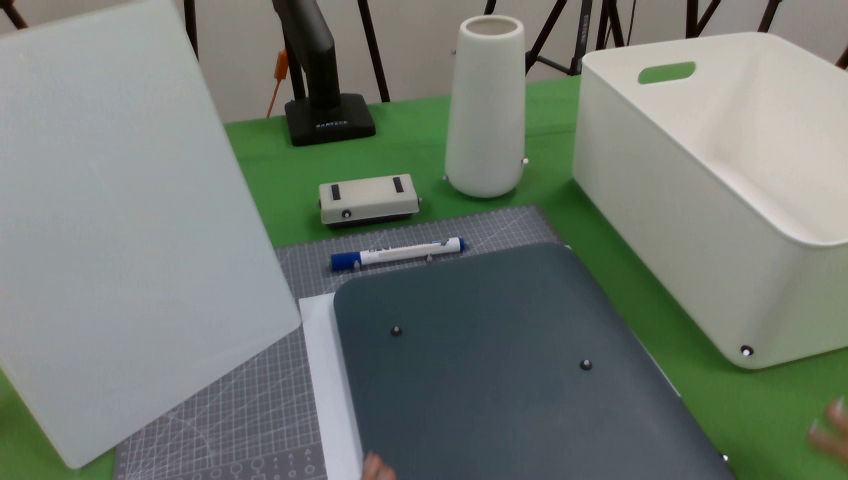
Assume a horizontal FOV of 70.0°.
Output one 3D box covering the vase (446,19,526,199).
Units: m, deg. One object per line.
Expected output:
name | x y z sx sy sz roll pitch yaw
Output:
vase | 0.076 -0.148 0.708 0.098 0.202 0.097 0 39 0

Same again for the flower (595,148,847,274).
flower | 0.353 -0.020 0.677 0.358 0.038 0.044 33 45 32

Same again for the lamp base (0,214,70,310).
lamp base | -0.474 -0.036 0.594 0.178 0.182 0.160 15 42 23

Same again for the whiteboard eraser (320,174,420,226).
whiteboard eraser | -0.064 -0.045 0.709 0.113 0.042 0.055 -9 38 -9

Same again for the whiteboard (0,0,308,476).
whiteboard | -0.269 -0.013 0.507 0.217 0.308 0.142 -32 29 -32

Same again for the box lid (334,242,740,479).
box lid | 0.077 0.136 0.504 0.264 0.015 0.367 -10 40 -11

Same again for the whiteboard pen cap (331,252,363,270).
whiteboard pen cap | -0.081 0.022 0.641 0.033 0.018 0.018 -6 39 -10

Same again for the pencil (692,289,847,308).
pencil | 0.360 0.059 0.588 0.194 0.012 0.012 4 39 4

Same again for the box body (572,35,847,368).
box body | 0.340 -0.062 0.626 0.255 0.162 0.360 -11 40 -11

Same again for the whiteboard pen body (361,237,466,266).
whiteboard pen body | -0.023 0.014 0.650 0.141 0.017 0.017 -8 39 -8
